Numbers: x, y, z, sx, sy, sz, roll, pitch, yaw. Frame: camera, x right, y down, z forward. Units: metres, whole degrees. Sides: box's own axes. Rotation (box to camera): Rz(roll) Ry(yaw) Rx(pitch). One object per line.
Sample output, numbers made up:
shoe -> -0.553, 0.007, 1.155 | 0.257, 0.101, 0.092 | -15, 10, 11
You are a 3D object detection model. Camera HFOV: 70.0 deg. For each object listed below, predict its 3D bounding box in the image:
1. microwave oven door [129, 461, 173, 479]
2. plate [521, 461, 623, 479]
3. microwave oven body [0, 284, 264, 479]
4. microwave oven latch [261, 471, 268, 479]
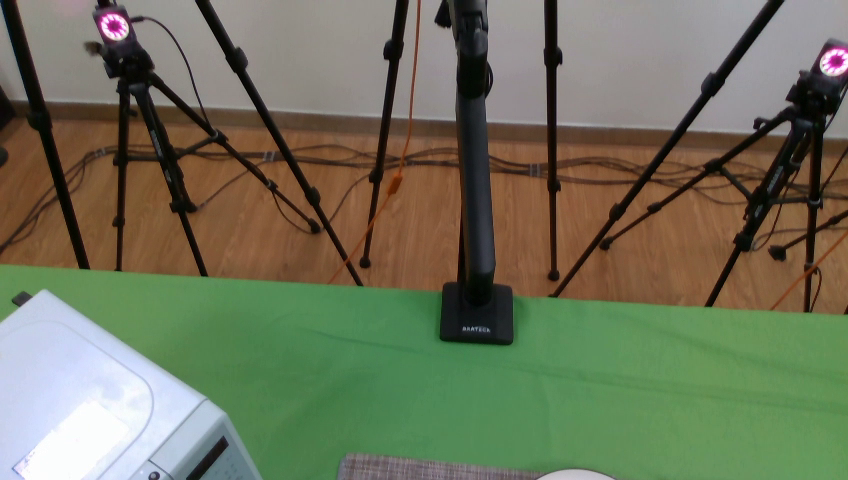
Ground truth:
microwave oven door -> -0.354, 0.405, 0.583 | 0.039, 0.246, 0.354 | 25, 54, 20
plate -> 0.194, 0.385, 0.759 | 0.208, 0.039, 0.205 | 1, 50, 0
microwave oven body -> -0.456, 0.323, 0.658 | 0.324, 0.262, 0.440 | 26, 55, 19
microwave oven latch -> -0.236, 0.331, 0.781 | 0.030, 0.030, 0.079 | 27, 55, 20
